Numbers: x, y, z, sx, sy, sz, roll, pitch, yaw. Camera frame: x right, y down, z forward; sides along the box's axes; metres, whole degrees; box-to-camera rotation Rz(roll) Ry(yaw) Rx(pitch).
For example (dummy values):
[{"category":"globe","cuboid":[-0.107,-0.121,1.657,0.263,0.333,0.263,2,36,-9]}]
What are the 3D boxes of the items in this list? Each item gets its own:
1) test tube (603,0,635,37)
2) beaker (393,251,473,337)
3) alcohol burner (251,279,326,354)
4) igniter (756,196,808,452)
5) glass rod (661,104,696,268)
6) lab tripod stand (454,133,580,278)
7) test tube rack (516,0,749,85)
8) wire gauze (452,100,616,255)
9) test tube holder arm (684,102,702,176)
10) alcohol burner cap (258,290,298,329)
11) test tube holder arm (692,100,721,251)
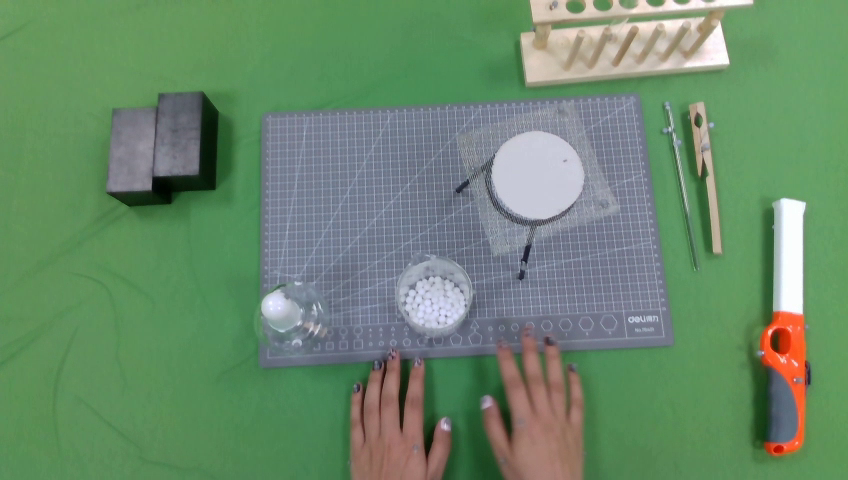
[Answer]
[{"category":"test tube","cuboid":[0.223,-0.265,0.653,0.017,0.151,0.017,1,76,-4]},{"category":"beaker","cuboid":[0.007,0.059,0.622,0.074,0.101,0.083,-24,77,-5]},{"category":"alcohol burner","cuboid":[-0.140,0.075,0.612,0.078,0.120,0.077,0,74,1]},{"category":"igniter","cuboid":[0.386,0.087,0.652,0.057,0.025,0.275,10,77,-7]},{"category":"glass rod","cuboid":[0.291,-0.065,0.697,0.008,0.008,0.198,-4,77,-1]},{"category":"lab tripod stand","cuboid":[0.097,-0.044,0.627,0.148,0.132,0.147,0,78,2]},{"category":"test tube rack","cuboid":[0.235,-0.240,0.698,0.242,0.085,0.066,-5,77,0]},{"category":"wire gauze","cuboid":[0.100,-0.062,0.562,0.121,0.011,0.124,-18,78,-2]},{"category":"test tube holder arm","cuboid":[0.315,-0.118,0.704,0.010,0.015,0.087,-11,75,32]},{"category":"alcohol burner cap","cuboid":[-0.142,0.064,0.578,0.034,0.048,0.033,0,67,0]},{"category":"test tube holder arm","cuboid":[0.322,-0.075,0.692,0.013,0.015,0.177,-11,75,32]}]
